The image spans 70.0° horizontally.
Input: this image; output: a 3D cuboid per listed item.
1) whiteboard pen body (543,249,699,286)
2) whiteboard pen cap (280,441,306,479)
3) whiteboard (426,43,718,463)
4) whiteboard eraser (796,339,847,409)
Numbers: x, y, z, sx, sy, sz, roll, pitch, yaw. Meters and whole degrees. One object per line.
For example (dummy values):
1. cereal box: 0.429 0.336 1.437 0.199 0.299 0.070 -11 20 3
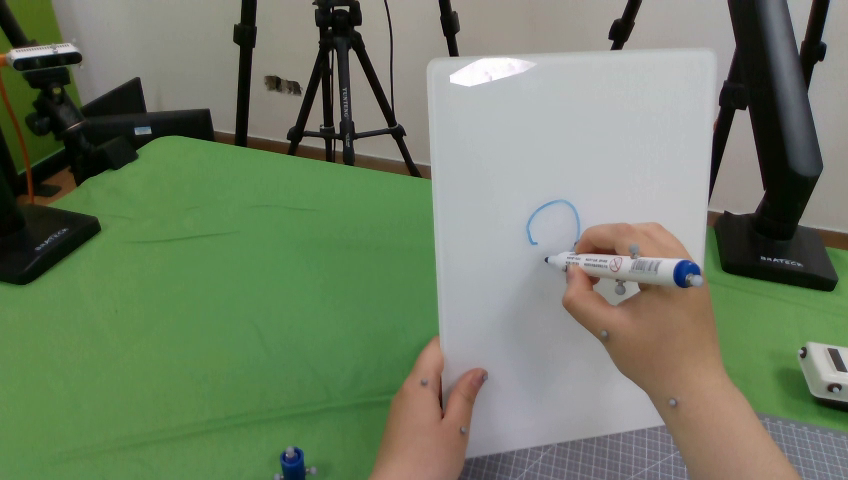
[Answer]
1. whiteboard pen body: 0.115 0.015 0.382 0.017 0.017 0.140 -13 6 -21
2. whiteboard pen cap: -0.097 0.166 0.450 0.018 0.033 0.018 2 36 -1
3. whiteboard: 0.102 0.000 0.517 0.218 0.307 0.143 -5 15 -10
4. whiteboard eraser: 0.395 0.124 0.533 0.112 0.042 0.055 10 38 10
